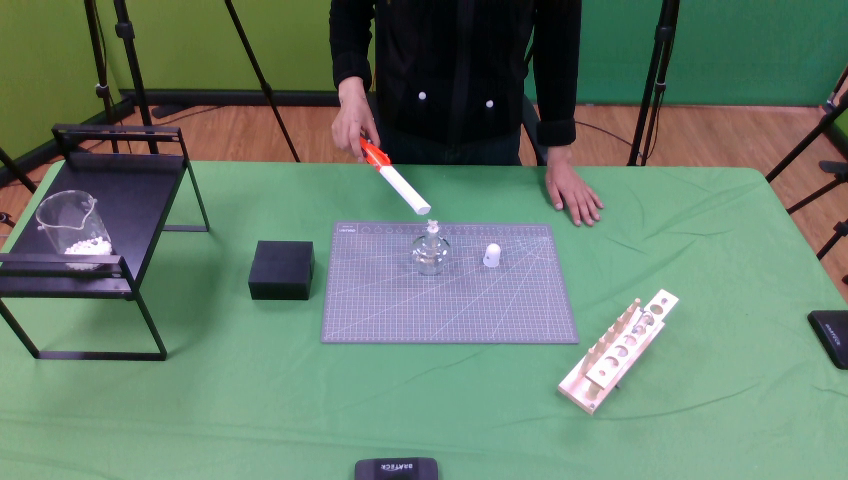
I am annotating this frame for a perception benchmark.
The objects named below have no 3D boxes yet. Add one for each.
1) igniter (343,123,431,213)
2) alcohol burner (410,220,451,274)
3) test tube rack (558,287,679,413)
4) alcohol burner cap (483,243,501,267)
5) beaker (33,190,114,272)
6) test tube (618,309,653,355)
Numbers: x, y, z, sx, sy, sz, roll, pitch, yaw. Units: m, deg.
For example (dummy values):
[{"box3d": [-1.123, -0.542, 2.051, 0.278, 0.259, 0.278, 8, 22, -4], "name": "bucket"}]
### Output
[{"box3d": [-0.078, -0.143, 1.150, 0.057, 0.025, 0.275, -6, 44, -45], "name": "igniter"}, {"box3d": [0.013, 0.007, 1.120, 0.078, 0.120, 0.077, 1, 48, -1], "name": "alcohol burner"}, {"box3d": [0.326, 0.170, 1.009, 0.066, 0.085, 0.242, 36, 54, 27], "name": "test tube rack"}, {"box3d": [0.132, 0.025, 1.161, 0.034, 0.048, 0.033, 3, 47, -3], "name": "alcohol burner cap"}, {"box3d": [-0.493, -0.009, 0.865, 0.083, 0.101, 0.074, 37, 55, 27], "name": "beaker"}, {"box3d": [0.329, 0.155, 0.956, 0.017, 0.151, 0.017, 2, 51, -2], "name": "test tube"}]
